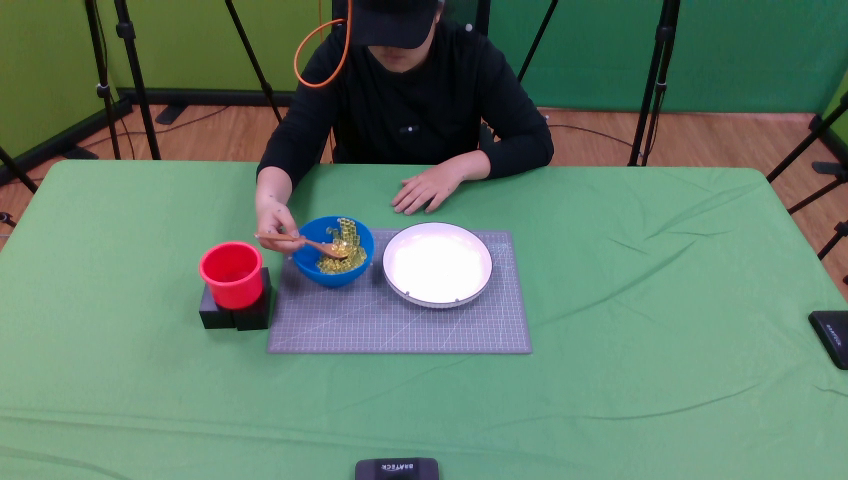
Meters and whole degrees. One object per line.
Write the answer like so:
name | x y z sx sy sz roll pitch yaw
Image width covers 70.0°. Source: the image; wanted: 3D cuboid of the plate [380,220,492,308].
plate | 0.022 0.048 1.138 0.208 0.039 0.206 2 46 -2

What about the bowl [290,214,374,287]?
bowl | -0.166 0.032 1.111 0.151 0.077 0.150 2 47 -2

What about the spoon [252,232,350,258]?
spoon | -0.213 0.004 1.070 0.195 0.021 0.041 17 29 -43
